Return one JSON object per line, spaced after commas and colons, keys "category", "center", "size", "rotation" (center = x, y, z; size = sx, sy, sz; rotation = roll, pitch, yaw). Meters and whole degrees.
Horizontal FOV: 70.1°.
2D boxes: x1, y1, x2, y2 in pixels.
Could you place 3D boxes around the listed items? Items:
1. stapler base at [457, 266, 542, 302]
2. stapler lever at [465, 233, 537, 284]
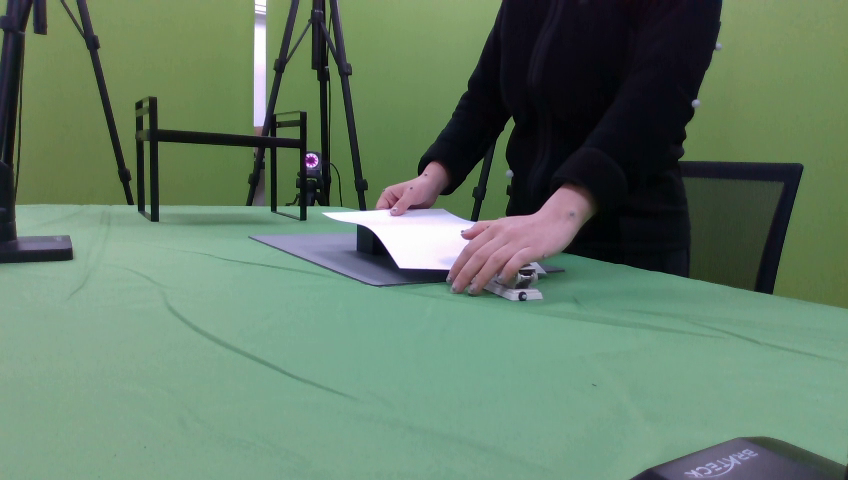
{"category": "stapler base", "center": [0.082, 0.042, 0.688], "size": [0.041, 0.024, 0.130], "rotation": [-4, 13, -25]}
{"category": "stapler lever", "center": [0.084, 0.019, 0.683], "size": [0.027, 0.040, 0.117], "rotation": [-5, 12, -25]}
